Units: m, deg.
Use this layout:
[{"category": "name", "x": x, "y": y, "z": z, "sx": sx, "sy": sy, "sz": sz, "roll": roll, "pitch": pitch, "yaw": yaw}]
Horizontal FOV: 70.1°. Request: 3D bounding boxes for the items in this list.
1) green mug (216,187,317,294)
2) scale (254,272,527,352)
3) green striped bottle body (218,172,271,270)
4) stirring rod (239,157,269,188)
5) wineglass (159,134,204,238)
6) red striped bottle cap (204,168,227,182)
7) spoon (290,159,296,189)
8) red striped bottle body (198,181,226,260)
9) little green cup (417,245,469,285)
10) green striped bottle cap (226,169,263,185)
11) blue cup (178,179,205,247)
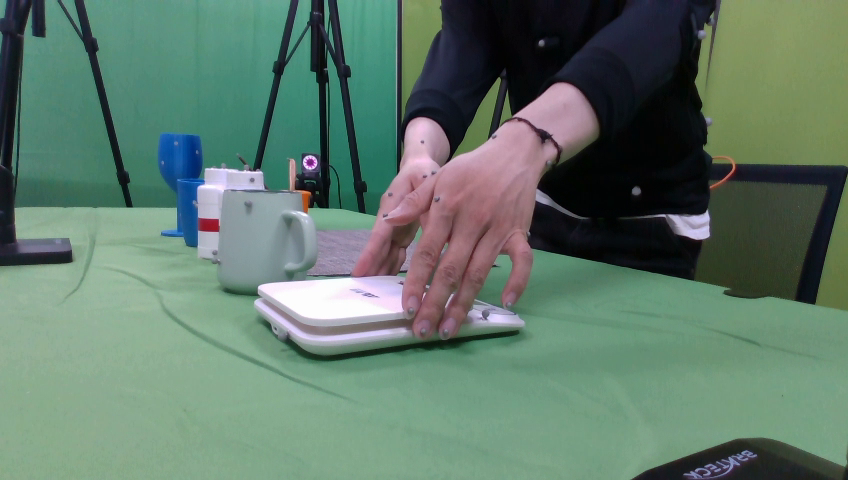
[{"category": "green mug", "x": -0.157, "y": 0.000, "z": 0.629, "sx": 0.124, "sy": 0.105, "sz": 0.093, "roll": 7, "pitch": 9, "yaw": 37}, {"category": "scale", "x": -0.029, "y": 0.054, "z": 0.512, "sx": 0.202, "sy": 0.031, "sz": 0.148, "roll": -2, "pitch": 8, "yaw": -31}, {"category": "green striped bottle body", "x": -0.223, "y": -0.025, "z": 0.755, "sx": 0.063, "sy": 0.119, "sz": 0.063, "roll": 1, "pitch": 8, "yaw": 0}, {"category": "stirring rod", "x": -0.309, "y": -0.098, "z": 1.210, "sx": 0.006, "sy": 0.177, "sz": 0.014, "roll": -39, "pitch": 30, "yaw": -4}, {"category": "wineglass", "x": -0.415, "y": -0.093, "z": 1.040, "sx": 0.074, "sy": 0.172, "sz": 0.073, "roll": 2, "pitch": 7, "yaw": 0}, {"category": "red striped bottle cap", "x": -0.275, "y": -0.088, "z": 0.821, "sx": 0.044, "sy": 0.017, "sz": 0.044, "roll": 4, "pitch": 6, "yaw": 0}, {"category": "spoon", "x": -0.273, "y": -0.102, "z": 1.252, "sx": 0.042, "sy": 0.193, "sz": 0.021, "roll": 7, "pitch": -38, "yaw": -17}, {"category": "red striped bottle body", "x": -0.275, "y": -0.035, "z": 0.827, "sx": 0.063, "sy": 0.119, "sz": 0.063, "roll": 1, "pitch": 6, "yaw": 0}, {"category": "little green cup", "x": 0.021, "y": 0.029, "z": 0.702, "sx": 0.061, "sy": 0.038, "sz": 0.061, "roll": 2, "pitch": 7, "yaw": 0}, {"category": "green striped bottle cap", "x": -0.222, "y": -0.077, "z": 0.747, "sx": 0.044, "sy": 0.020, "sz": 0.044, "roll": 2, "pitch": 6, "yaw": 0}, {"category": "blue cup", "x": -0.334, "y": -0.042, "z": 0.936, "sx": 0.093, "sy": 0.100, "sz": 0.092, "roll": 2, "pitch": 8, "yaw": 0}]
